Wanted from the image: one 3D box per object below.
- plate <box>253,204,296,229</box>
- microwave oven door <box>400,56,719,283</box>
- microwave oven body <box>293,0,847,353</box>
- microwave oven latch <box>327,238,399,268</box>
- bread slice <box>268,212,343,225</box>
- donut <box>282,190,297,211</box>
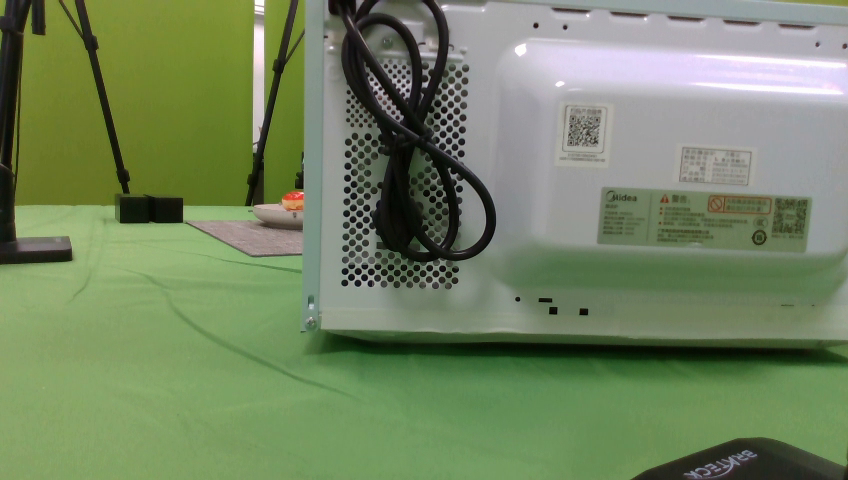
[{"bbox_3d":[-0.238,-0.047,1.226,0.208,0.039,0.207,3,7,0],"label":"plate"},{"bbox_3d":[0.155,-0.077,0.697,0.356,0.243,0.039,2,8,-5],"label":"microwave oven door"},{"bbox_3d":[0.122,-0.055,0.550,0.442,0.260,0.325,3,7,-5],"label":"microwave oven body"},{"bbox_3d":[-0.069,0.015,0.694,0.079,0.029,0.030,3,7,-3],"label":"microwave oven latch"},{"bbox_3d":[-0.244,-0.045,1.220,0.104,0.019,0.132,6,7,36],"label":"bread slice"},{"bbox_3d":[-0.239,-0.076,1.232,0.099,0.048,0.099,2,4,0],"label":"donut"}]
